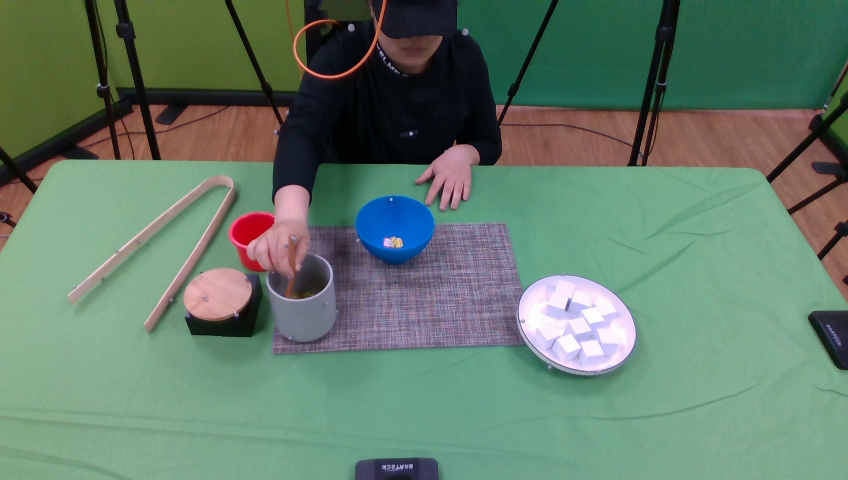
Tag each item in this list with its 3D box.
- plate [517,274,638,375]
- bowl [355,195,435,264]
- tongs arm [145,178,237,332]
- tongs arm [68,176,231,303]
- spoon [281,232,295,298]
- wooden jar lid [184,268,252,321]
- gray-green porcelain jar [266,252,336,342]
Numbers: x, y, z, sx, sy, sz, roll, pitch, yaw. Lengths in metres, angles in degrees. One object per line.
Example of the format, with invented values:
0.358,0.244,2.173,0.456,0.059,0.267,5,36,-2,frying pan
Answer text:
0.264,0.149,1.060,0.209,0.038,0.208,3,46,-3,plate
-0.056,-0.008,1.158,0.151,0.077,0.150,2,46,-2,bowl
-0.432,0.014,1.149,0.028,0.028,0.385,8,46,7,tongs arm
-0.510,-0.010,1.162,0.050,0.026,0.383,20,47,14,tongs arm
-0.215,0.063,0.960,0.022,0.194,0.041,-6,41,-28,spoon
-0.343,0.093,1.015,0.108,0.021,0.107,3,46,-3,wooden jar lid
-0.202,0.100,1.009,0.106,0.127,0.105,2,46,-2,gray-green porcelain jar
